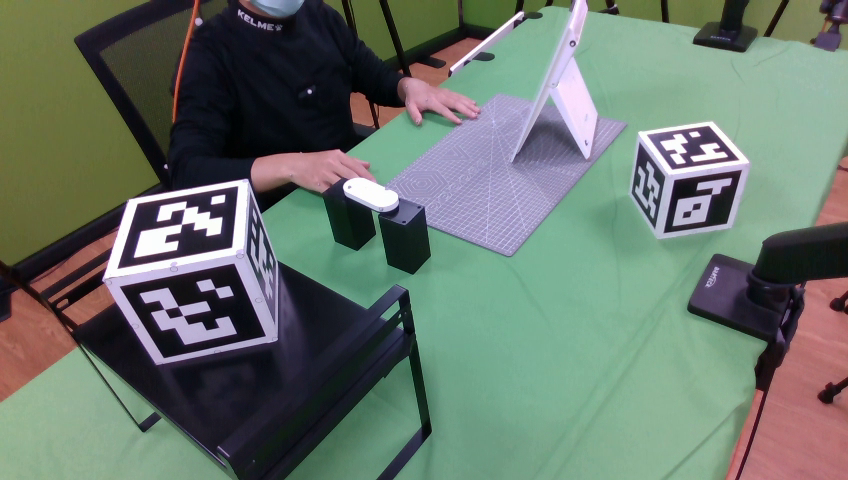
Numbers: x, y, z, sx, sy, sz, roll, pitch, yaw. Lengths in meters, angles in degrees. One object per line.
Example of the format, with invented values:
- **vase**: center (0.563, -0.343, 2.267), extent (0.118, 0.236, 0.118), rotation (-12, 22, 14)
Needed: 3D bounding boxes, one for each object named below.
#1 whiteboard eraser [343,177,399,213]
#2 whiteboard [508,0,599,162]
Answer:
- **whiteboard eraser**: center (-0.081, -0.069, 0.909), extent (0.100, 0.019, 0.041), rotation (26, 51, 33)
- **whiteboard**: center (0.285, -0.289, 1.090), extent (0.144, 0.305, 0.217), rotation (22, 45, 3)
